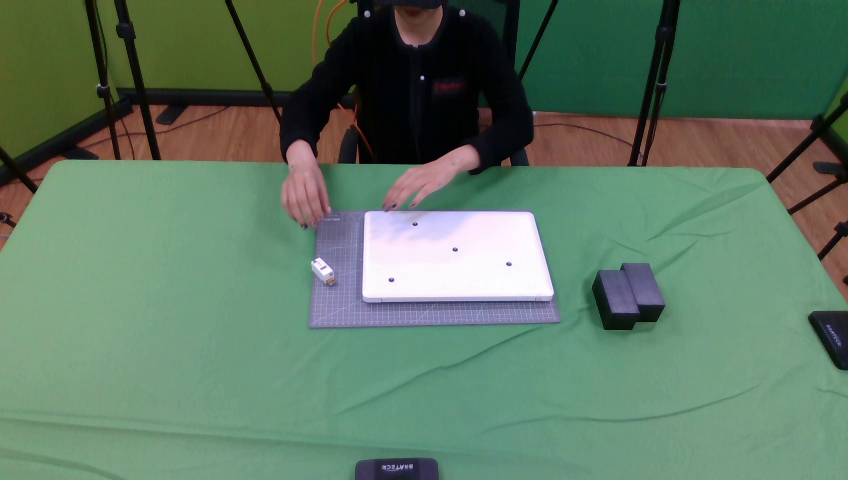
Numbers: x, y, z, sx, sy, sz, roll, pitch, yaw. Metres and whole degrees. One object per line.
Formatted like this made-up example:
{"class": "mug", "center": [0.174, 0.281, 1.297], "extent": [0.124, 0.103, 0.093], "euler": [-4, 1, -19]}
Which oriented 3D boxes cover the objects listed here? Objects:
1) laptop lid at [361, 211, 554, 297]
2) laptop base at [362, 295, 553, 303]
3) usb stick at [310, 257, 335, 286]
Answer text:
{"class": "laptop lid", "center": [0.058, 0.020, 1.169], "extent": [0.357, 0.013, 0.240], "euler": [1, 44, -3]}
{"class": "laptop base", "center": [0.058, 0.030, 1.175], "extent": [0.355, 0.023, 0.234], "euler": [0, 43, -4]}
{"class": "usb stick", "center": [-0.186, 0.060, 1.119], "extent": [0.021, 0.027, 0.059], "euler": [-30, 57, -28]}
